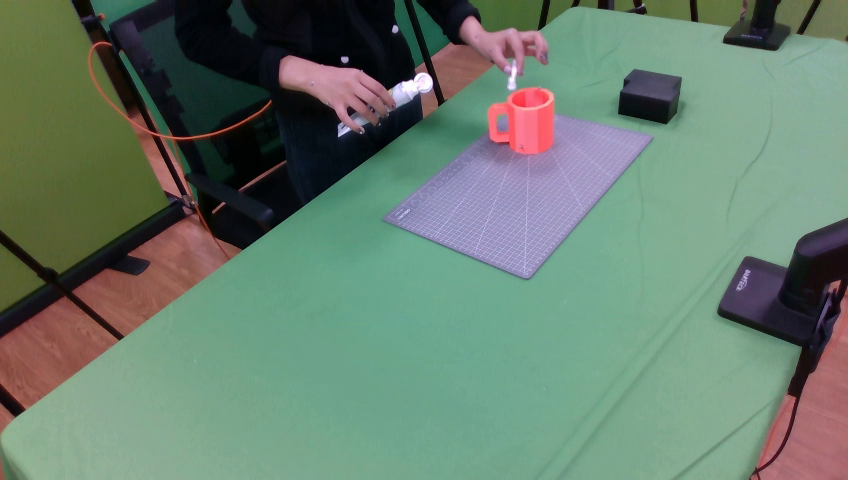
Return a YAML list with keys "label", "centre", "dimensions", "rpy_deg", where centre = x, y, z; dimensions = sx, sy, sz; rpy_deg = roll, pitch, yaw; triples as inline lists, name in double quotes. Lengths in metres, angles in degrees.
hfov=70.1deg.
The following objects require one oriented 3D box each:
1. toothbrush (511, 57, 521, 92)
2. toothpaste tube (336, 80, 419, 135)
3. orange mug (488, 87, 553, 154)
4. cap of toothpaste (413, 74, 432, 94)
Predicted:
- label: "toothbrush"
  centre: [0.168, -0.306, 1.099]
  dimensions: [0.014, 0.017, 0.181]
  rpy_deg: [0, 32, 11]
- label: "toothpaste tube"
  centre: [-0.083, -0.233, 1.057]
  dimensions: [0.165, 0.035, 0.055]
  rpy_deg: [-27, 29, 8]
- label: "orange mug"
  centre: [0.185, -0.227, 1.151]
  dimensions: [0.126, 0.101, 0.083]
  rpy_deg: [0, 41, 5]
- label: "cap of toothpaste"
  centre: [-0.003, -0.276, 1.066]
  dimensions: [0.037, 0.037, 0.011]
  rpy_deg: [-21, 5, -14]
